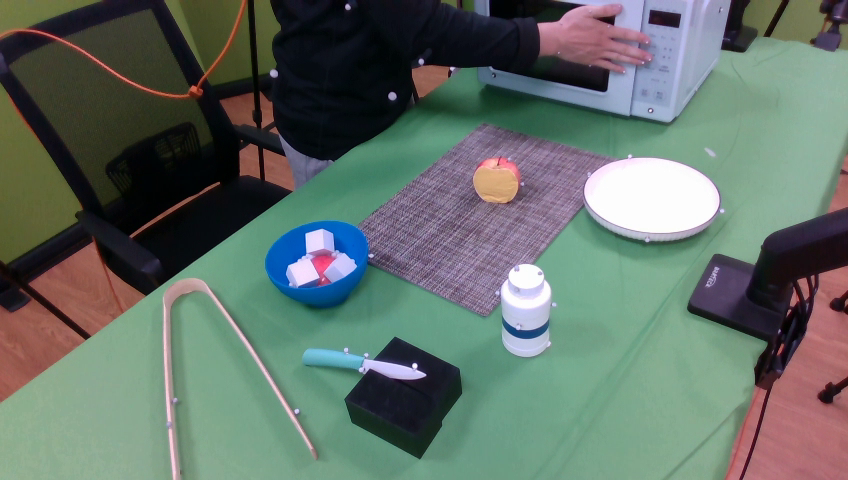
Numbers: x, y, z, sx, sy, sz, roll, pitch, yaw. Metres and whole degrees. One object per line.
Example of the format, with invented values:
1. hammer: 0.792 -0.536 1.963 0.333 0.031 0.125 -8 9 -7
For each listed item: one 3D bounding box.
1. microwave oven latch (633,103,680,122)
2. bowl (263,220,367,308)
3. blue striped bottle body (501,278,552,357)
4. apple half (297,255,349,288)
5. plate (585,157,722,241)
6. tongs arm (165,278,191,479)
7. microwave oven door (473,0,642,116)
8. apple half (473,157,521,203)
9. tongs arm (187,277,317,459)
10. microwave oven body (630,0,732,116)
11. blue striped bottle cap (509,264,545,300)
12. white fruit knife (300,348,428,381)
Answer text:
1. microwave oven latch: 0.444 -0.250 1.158 0.078 0.029 0.030 21 49 30
2. bowl: -0.152 0.047 0.892 0.151 0.077 0.150 -4 40 4
3. blue striped bottle body: 0.130 0.089 0.769 0.063 0.121 0.063 -4 40 4
4. apple half: -0.153 0.043 0.889 0.081 0.033 0.081 -2 40 2
5. plate: 0.367 -0.063 0.979 0.207 0.039 0.206 -4 40 4
6. tongs arm: -0.313 0.182 0.789 0.051 0.026 0.381 -19 41 -14
7. microwave oven door: 0.255 -0.394 1.197 0.353 0.245 0.039 22 49 30
8. apple half: 0.128 -0.106 1.030 0.080 0.075 0.053 4 36 19
9. tongs arm: -0.240 0.154 0.815 0.028 0.028 0.384 -31 46 -21
10. microwave oven body: 0.377 -0.463 1.267 0.438 0.261 0.327 21 49 30
11. blue striped bottle cap: 0.125 0.050 0.735 0.044 0.021 0.044 -5 39 5
12. white fruit knife: -0.079 0.154 0.748 0.206 0.027 0.016 1 21 34
